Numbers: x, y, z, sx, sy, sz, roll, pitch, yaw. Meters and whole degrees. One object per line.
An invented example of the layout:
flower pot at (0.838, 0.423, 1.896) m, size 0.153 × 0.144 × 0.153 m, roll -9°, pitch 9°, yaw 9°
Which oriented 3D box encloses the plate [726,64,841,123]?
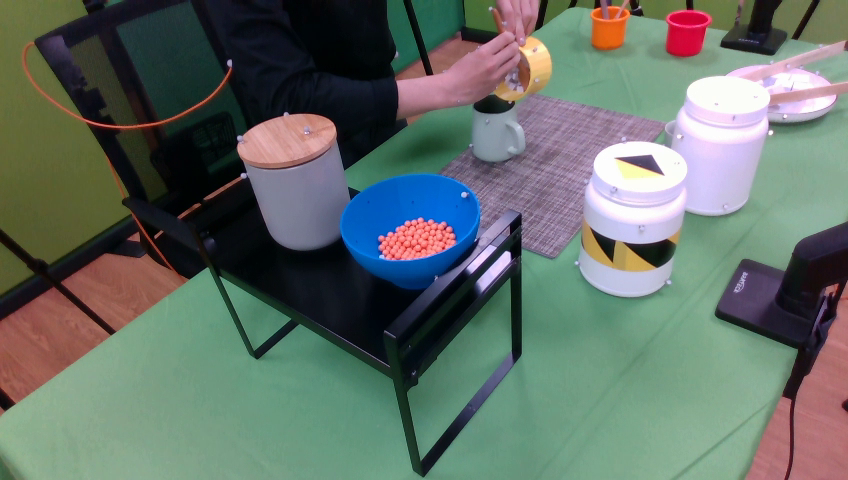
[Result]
plate at (0.695, -0.283, 1.189) m, size 0.207 × 0.039 × 0.206 m, roll -4°, pitch 40°, yaw 4°

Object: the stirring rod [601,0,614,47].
stirring rod at (0.439, -0.552, 1.463) m, size 0.014 × 0.006 × 0.175 m, roll -7°, pitch 83°, yaw 2°

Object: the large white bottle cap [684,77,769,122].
large white bottle cap at (0.448, -0.210, 0.898) m, size 0.115 × 0.018 × 0.114 m, roll -4°, pitch 40°, yaw 4°

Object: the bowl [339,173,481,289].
bowl at (-0.011, 0.001, 0.660) m, size 0.151 × 0.077 × 0.150 m, roll -5°, pitch 41°, yaw 5°

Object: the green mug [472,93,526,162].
green mug at (0.144, -0.201, 1.122) m, size 0.093 × 0.105 × 0.124 m, roll -29°, pitch 45°, yaw -23°

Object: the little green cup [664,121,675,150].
little green cup at (0.472, -0.188, 1.113) m, size 0.061 × 0.039 × 0.061 m, roll -4°, pitch 40°, yaw 4°

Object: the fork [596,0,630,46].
fork at (0.481, -0.556, 1.452) m, size 0.028 × 0.019 × 0.207 m, roll 40°, pitch 103°, yaw 38°

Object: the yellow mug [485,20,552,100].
yellow mug at (0.166, -0.321, 1.076) m, size 0.099 × 0.131 × 0.064 m, roll 10°, pitch 28°, yaw 40°

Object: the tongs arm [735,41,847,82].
tongs arm at (0.712, -0.332, 1.194) m, size 0.386 × 0.026 × 0.050 m, roll -19°, pitch 45°, yaw -16°

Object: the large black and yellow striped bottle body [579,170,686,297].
large black and yellow striped bottle body at (0.287, -0.027, 0.841) m, size 0.131 × 0.185 × 0.130 m, roll -4°, pitch 40°, yaw 4°

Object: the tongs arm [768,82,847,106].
tongs arm at (0.738, -0.282, 1.134) m, size 0.388 × 0.028 × 0.028 m, roll -9°, pitch 46°, yaw -5°

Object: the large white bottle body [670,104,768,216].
large white bottle body at (0.458, -0.146, 0.953) m, size 0.130 × 0.185 × 0.130 m, roll -4°, pitch 40°, yaw 4°

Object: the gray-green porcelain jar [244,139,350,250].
gray-green porcelain jar at (-0.143, -0.060, 0.714) m, size 0.106 × 0.127 × 0.105 m, roll -4°, pitch 41°, yaw 4°

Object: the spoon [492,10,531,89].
spoon at (0.147, -0.316, 1.017) m, size 0.021 × 0.195 × 0.041 m, roll -41°, pitch 58°, yaw 8°

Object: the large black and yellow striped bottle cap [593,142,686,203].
large black and yellow striped bottle cap at (0.280, -0.090, 0.786) m, size 0.115 × 0.019 × 0.114 m, roll -5°, pitch 41°, yaw 5°

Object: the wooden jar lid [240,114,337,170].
wooden jar lid at (-0.149, -0.106, 0.673) m, size 0.108 × 0.021 × 0.108 m, roll -6°, pitch 39°, yaw 5°
